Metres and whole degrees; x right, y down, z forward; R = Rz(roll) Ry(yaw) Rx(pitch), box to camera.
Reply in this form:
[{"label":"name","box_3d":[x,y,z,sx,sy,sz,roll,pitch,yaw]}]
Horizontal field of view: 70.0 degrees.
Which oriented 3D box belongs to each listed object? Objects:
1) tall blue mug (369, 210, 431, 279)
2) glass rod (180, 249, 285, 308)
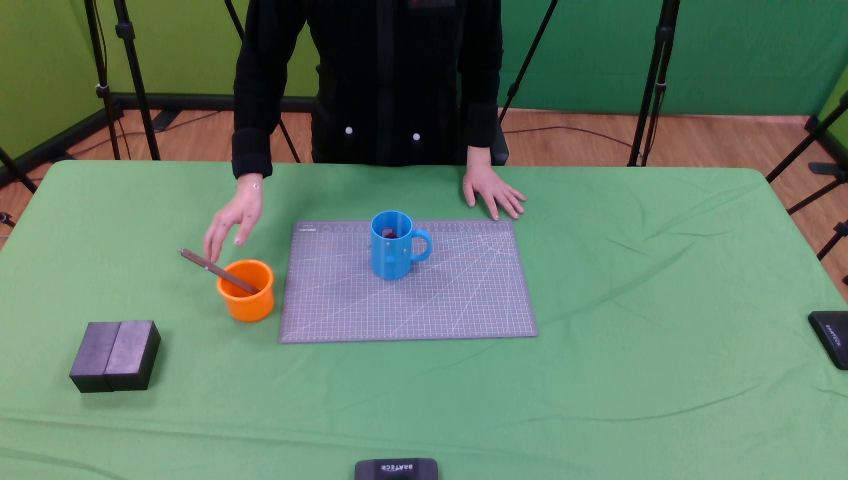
[{"label":"tall blue mug","box_3d":[-0.049,0.005,1.125,0.107,0.108,0.077,-19,50,-21]},{"label":"glass rod","box_3d":[-0.321,0.068,1.028,0.200,0.008,0.008,34,40,-25]}]
